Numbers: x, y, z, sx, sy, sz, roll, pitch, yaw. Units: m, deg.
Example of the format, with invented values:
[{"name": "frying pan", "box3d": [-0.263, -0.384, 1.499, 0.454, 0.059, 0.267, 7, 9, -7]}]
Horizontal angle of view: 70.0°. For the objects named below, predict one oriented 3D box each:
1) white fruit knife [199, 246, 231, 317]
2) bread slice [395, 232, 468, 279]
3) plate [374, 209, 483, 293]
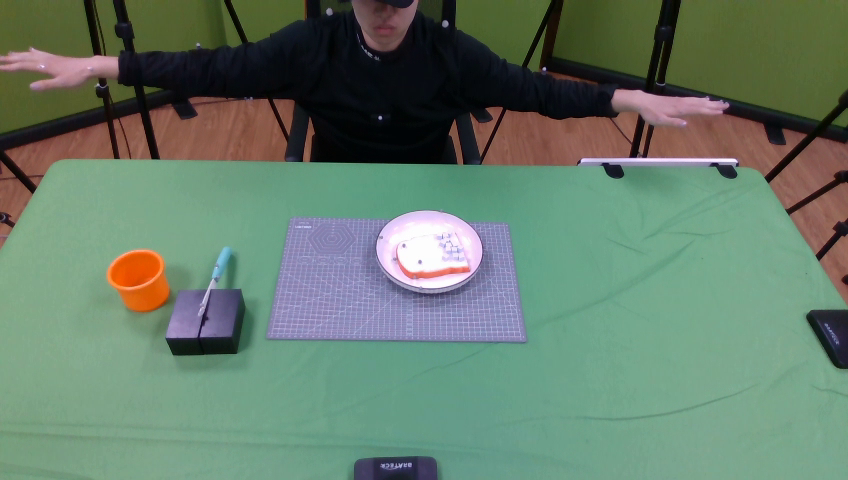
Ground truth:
[{"name": "white fruit knife", "box3d": [-0.367, 0.069, 1.063, 0.016, 0.027, 0.206, -1, 32, -4]}, {"name": "bread slice", "box3d": [0.011, 0.030, 1.158, 0.132, 0.019, 0.104, -8, 47, -14]}, {"name": "plate", "box3d": [0.009, 0.024, 1.160, 0.209, 0.038, 0.208, 2, 46, -2]}]
